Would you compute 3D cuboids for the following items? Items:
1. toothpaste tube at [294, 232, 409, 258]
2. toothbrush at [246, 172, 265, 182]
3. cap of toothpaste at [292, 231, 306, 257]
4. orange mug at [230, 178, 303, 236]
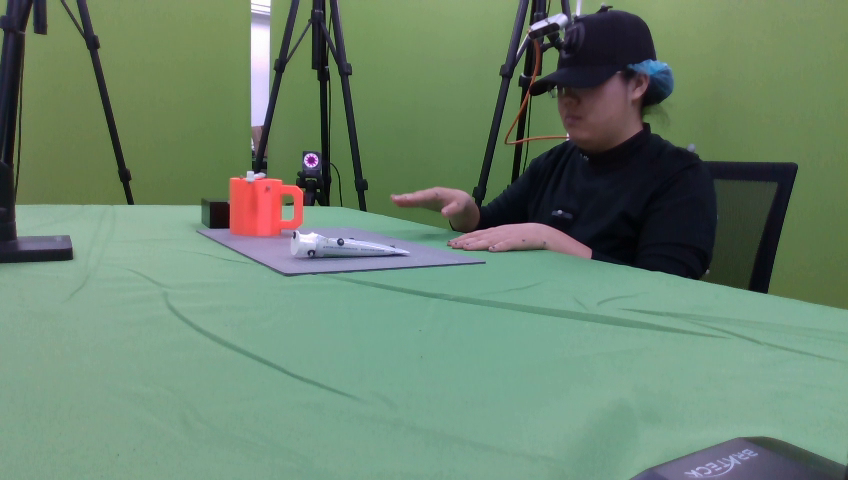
[{"bbox_3d":[-0.102,0.010,0.853,0.166,0.034,0.055,3,11,-34],"label":"toothpaste tube"},{"bbox_3d":[-0.292,-0.112,1.050,0.014,0.016,0.181,-4,8,-8],"label":"toothbrush"},{"bbox_3d":[-0.169,0.005,0.812,0.011,0.037,0.037,6,4,-29],"label":"cap of toothpaste"},{"bbox_3d":[-0.275,-0.060,1.058,0.126,0.101,0.083,-2,8,-5],"label":"orange mug"}]
